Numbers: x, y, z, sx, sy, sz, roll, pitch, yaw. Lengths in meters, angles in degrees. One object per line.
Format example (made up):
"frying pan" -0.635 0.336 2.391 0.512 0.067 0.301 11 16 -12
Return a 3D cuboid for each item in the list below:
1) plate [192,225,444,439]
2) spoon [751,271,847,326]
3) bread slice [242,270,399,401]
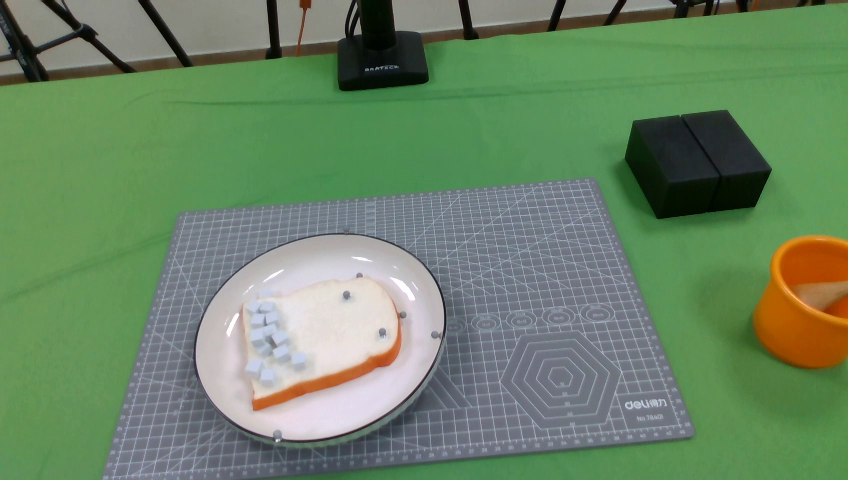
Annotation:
"plate" -0.086 0.074 0.513 0.209 0.038 0.207 -1 48 2
"spoon" 0.344 0.019 0.460 0.193 0.022 0.041 -30 36 32
"bread slice" -0.089 0.072 0.520 0.132 0.019 0.103 -17 50 -9
